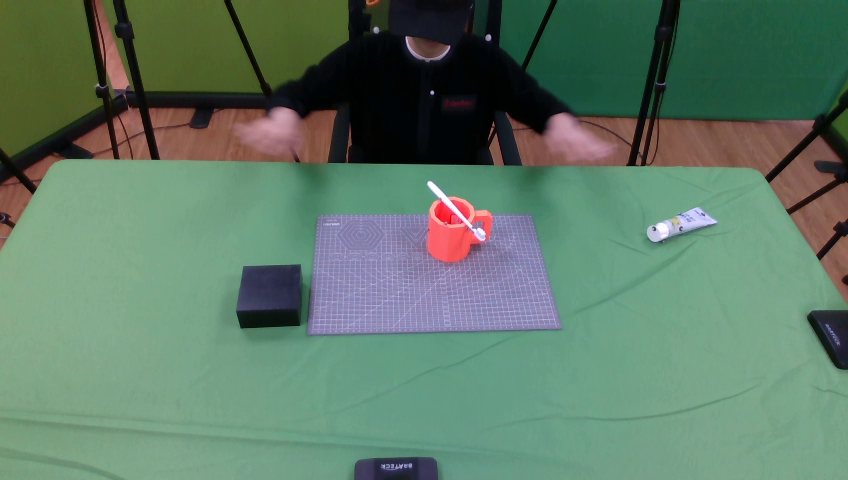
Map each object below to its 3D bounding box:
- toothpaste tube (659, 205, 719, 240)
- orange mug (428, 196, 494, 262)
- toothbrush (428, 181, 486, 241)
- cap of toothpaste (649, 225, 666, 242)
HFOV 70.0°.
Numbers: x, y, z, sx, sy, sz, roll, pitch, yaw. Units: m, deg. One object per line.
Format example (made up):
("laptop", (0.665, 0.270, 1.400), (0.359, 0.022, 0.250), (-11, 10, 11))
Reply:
("toothpaste tube", (0.542, -0.035, 1.259), (0.165, 0.034, 0.054), (-19, 55, -26))
("orange mug", (0.070, -0.023, 1.164), (0.126, 0.101, 0.083), (-7, 46, -5))
("toothbrush", (0.059, -0.058, 1.125), (0.014, 0.017, 0.180), (-24, 52, -24))
("cap of toothpaste", (0.473, -0.015, 1.226), (0.011, 0.037, 0.037), (-19, 50, -26))
